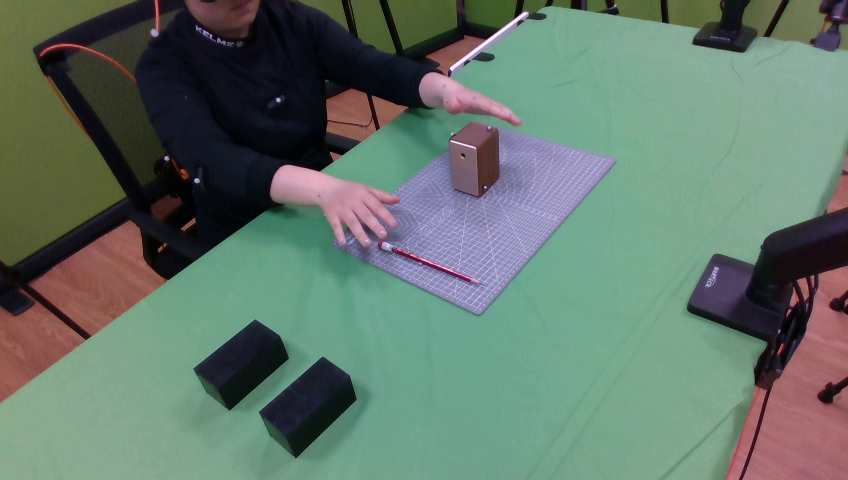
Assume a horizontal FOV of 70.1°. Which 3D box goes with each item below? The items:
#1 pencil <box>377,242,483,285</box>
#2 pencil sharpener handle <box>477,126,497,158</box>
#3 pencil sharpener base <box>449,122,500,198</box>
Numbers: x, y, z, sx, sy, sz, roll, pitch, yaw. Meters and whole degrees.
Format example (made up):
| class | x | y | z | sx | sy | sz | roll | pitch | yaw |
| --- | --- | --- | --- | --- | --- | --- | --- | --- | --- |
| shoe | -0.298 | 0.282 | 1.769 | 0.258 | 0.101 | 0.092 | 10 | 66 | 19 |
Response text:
| class | x | y | z | sx | sy | sz | roll | pitch | yaw |
| --- | --- | --- | --- | --- | --- | --- | --- | --- | --- |
| pencil | 0.006 | 0.036 | 0.931 | 0.192 | 0.012 | 0.012 | 20 | 47 | 27 |
| pencil sharpener handle | 0.118 | -0.179 | 1.075 | 0.035 | 0.068 | 0.031 | 23 | 48 | 27 |
| pencil sharpener base | 0.090 | -0.141 | 1.052 | 0.061 | 0.107 | 0.077 | 20 | 47 | 30 |
